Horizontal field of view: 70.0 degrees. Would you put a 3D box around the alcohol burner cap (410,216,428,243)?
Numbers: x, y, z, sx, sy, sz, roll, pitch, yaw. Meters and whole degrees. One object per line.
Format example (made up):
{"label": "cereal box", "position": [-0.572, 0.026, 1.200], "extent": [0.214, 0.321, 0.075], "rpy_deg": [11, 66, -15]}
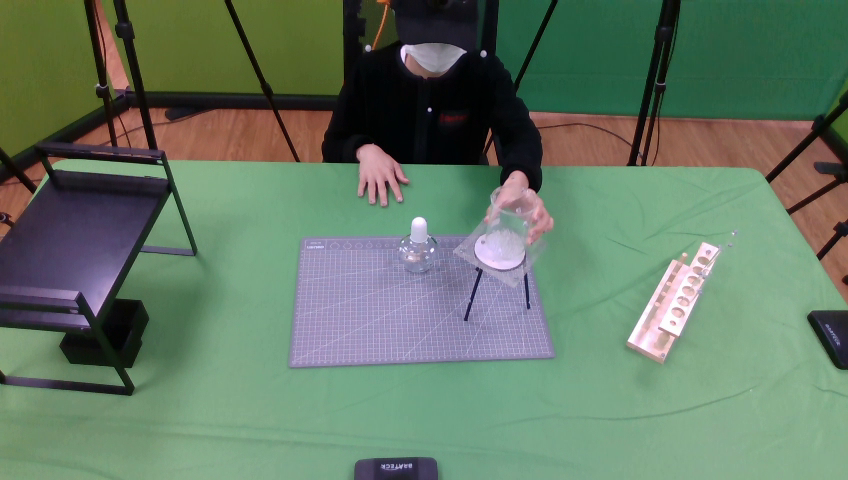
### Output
{"label": "alcohol burner cap", "position": [-0.009, -0.022, 1.099], "extent": [0.034, 0.048, 0.033], "rpy_deg": [2, 42, -1]}

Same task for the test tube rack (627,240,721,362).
{"label": "test tube rack", "position": [0.452, 0.098, 1.087], "extent": [0.066, 0.085, 0.242], "rpy_deg": [28, 51, 22]}

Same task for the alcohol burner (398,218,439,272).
{"label": "alcohol burner", "position": [-0.010, 0.004, 1.124], "extent": [0.078, 0.120, 0.077], "rpy_deg": [1, 47, 0]}

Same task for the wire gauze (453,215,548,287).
{"label": "wire gauze", "position": [0.129, 0.012, 1.017], "extent": [0.124, 0.011, 0.121], "rpy_deg": [27, 50, 23]}

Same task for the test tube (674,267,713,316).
{"label": "test tube", "position": [0.445, 0.098, 1.017], "extent": [0.017, 0.151, 0.017], "rpy_deg": [4, 48, -4]}

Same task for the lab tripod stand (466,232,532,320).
{"label": "lab tripod stand", "position": [0.125, 0.059, 1.065], "extent": [0.148, 0.132, 0.147], "rpy_deg": [1, 45, 0]}

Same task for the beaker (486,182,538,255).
{"label": "beaker", "position": [0.140, -0.033, 0.973], "extent": [0.073, 0.101, 0.084], "rpy_deg": [34, 50, 28]}

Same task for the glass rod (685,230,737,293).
{"label": "glass rod", "position": [0.495, 0.043, 1.051], "extent": [0.008, 0.200, 0.008], "rpy_deg": [2, 55, -2]}
